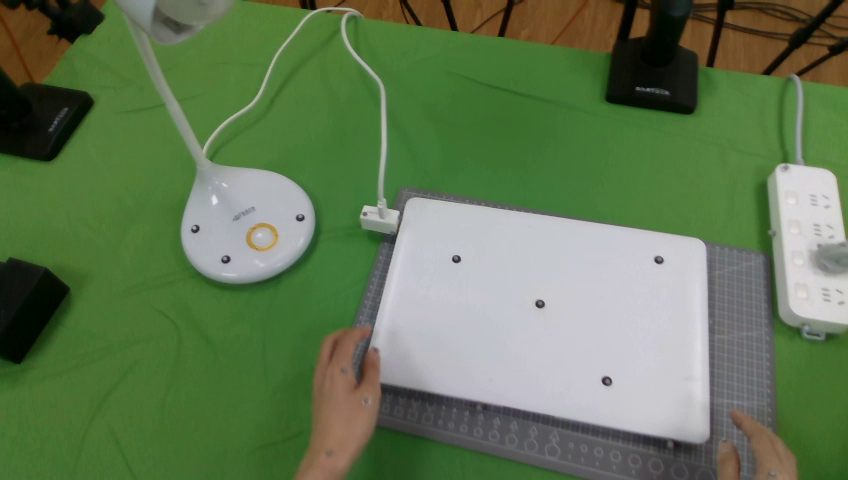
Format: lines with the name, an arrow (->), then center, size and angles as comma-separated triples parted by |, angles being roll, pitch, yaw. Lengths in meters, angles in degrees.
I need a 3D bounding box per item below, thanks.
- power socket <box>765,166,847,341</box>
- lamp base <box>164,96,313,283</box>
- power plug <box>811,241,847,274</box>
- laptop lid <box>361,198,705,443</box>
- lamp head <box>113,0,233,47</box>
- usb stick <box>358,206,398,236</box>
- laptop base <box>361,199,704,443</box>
power socket -> 0.441, 0.006, 0.700 | 0.072, 0.033, 0.225 | 11, 60, 7
lamp base -> -0.229, -0.065, 0.680 | 0.178, 0.182, 0.160 | 36, 66, 24
power plug -> 0.462, 0.027, 0.660 | 0.072, 0.053, 0.035 | 20, 61, 12
laptop lid -> 0.125, 0.074, 0.664 | 0.356, 0.013, 0.240 | 10, 62, 8
lamp head -> -0.191, -0.211, 0.412 | 0.123, 0.112, 0.112 | 38, 65, -4
usb stick -> -0.048, -0.022, 0.726 | 0.059, 0.027, 0.021 | 13, 55, 6
laptop base -> 0.126, 0.078, 0.676 | 0.354, 0.023, 0.234 | 9, 63, 7
